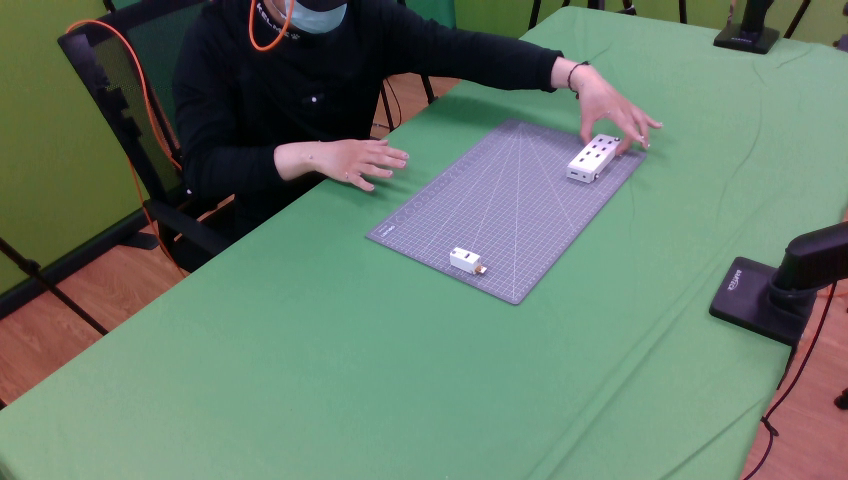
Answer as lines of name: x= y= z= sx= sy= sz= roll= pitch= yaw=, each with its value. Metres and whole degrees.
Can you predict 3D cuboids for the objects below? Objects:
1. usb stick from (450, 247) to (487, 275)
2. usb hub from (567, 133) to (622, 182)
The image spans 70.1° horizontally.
usb stick: x=0.069 y=0.033 z=0.912 sx=0.059 sy=0.027 sz=0.021 roll=24 pitch=48 yaw=28
usb hub: x=0.308 y=-0.149 z=1.091 sx=0.049 sy=0.025 sz=0.125 roll=23 pitch=50 yaw=30
